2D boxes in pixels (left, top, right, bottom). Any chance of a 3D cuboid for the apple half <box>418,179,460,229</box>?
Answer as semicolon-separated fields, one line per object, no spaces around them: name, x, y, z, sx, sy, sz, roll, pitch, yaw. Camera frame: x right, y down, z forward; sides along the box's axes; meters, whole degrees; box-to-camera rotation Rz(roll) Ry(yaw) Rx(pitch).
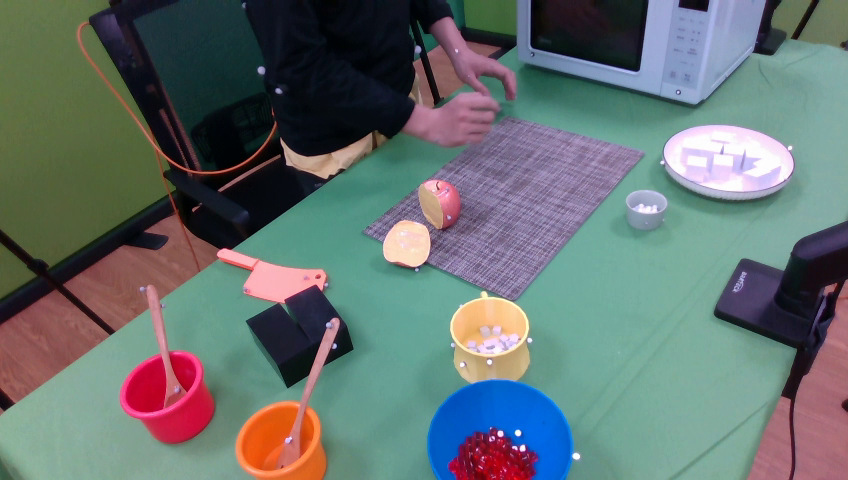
apple half;0.032;-0.062;0.998;0.053;0.075;0.080;-23;39;-23

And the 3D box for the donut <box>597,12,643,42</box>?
donut;0.436;-0.476;1.347;0.099;0.048;0.098;-13;30;8

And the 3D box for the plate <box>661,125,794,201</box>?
plate;0.514;-0.128;1.035;0.207;0.039;0.206;-4;40;4

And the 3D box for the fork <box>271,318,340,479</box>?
fork;-0.131;0.186;0.676;0.028;0.019;0.207;18;90;28

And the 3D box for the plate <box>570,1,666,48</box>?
plate;0.437;-0.485;1.370;0.209;0.038;0.208;-4;42;4

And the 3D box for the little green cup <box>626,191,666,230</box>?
little green cup;0.352;-0.046;0.963;0.061;0.039;0.061;-4;40;4

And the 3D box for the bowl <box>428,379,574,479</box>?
bowl;0.082;0.233;0.644;0.151;0.077;0.150;-4;40;4

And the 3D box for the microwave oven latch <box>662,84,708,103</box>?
microwave oven latch;0.518;-0.296;1.204;0.078;0.029;0.030;26;51;34

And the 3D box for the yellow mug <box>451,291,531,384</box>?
yellow mug;0.085;0.120;0.786;0.100;0.064;0.130;-7;39;1

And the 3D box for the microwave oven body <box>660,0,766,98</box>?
microwave oven body;0.473;-0.513;1.317;0.438;0.261;0.327;25;51;34

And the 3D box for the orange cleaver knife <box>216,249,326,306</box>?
orange cleaver knife;-0.248;0.058;0.945;0.210;0.012;0.077;13;50;20

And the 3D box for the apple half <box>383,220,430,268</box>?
apple half;-0.022;0.009;0.948;0.081;0.033;0.081;-4;73;13

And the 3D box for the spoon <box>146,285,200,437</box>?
spoon;-0.319;0.148;0.754;0.042;0.021;0.193;-15;85;-11

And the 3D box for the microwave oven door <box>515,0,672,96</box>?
microwave oven door;0.343;-0.454;1.259;0.353;0.245;0.039;26;51;33
